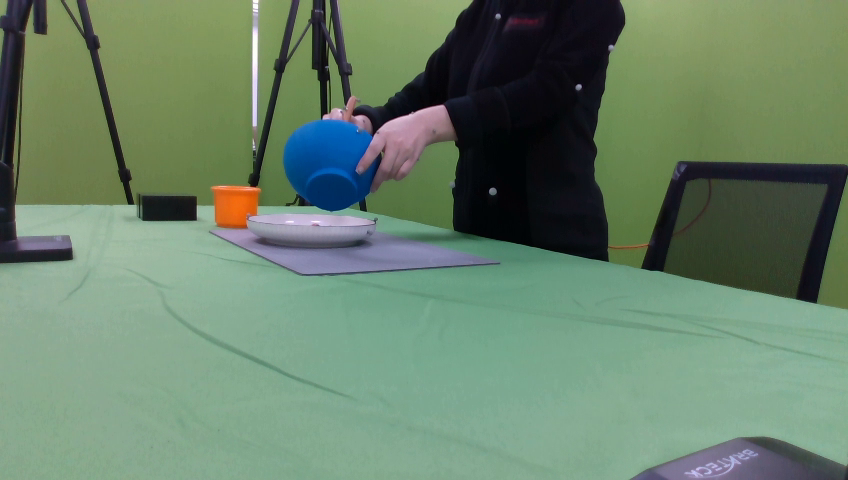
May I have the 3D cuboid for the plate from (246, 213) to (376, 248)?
[{"bbox_3d":[-0.185,-0.017,0.994,0.209,0.038,0.209,3,8,0],"label":"plate"}]

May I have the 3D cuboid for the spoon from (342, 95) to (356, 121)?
[{"bbox_3d":[-0.144,-0.162,1.004,0.041,0.193,0.021,13,-27,0],"label":"spoon"}]

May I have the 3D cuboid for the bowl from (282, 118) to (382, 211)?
[{"bbox_3d":[-0.137,-0.096,0.893,0.152,0.151,0.076,1,46,-6],"label":"bowl"}]
